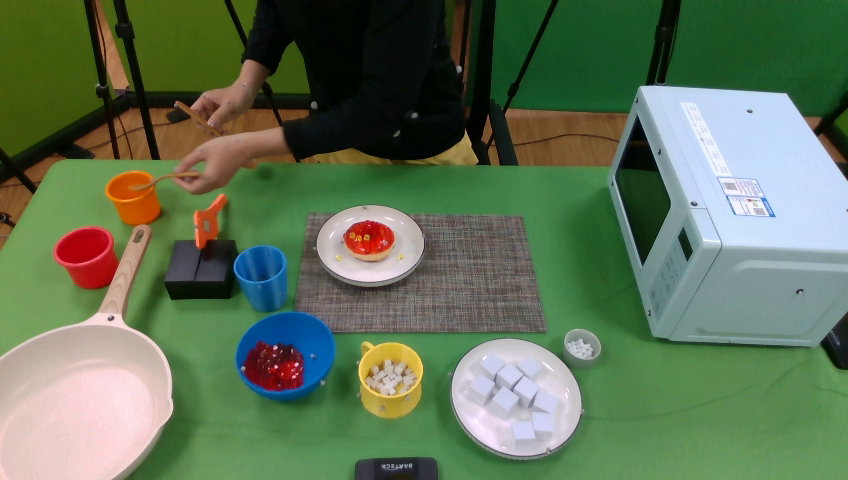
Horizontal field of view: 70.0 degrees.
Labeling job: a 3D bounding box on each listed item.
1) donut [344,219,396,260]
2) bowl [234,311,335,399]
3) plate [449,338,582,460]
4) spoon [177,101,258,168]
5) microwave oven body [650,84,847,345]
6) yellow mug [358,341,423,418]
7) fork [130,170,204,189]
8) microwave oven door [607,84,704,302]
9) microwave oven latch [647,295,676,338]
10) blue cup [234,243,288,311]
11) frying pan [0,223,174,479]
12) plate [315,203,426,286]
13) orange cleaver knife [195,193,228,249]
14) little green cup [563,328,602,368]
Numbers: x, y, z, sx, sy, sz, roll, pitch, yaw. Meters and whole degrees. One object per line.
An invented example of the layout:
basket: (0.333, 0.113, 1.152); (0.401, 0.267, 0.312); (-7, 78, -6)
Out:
donut: (-0.103, -0.002, 1.158); (0.099, 0.048, 0.098); (2, 43, -2)
bowl: (-0.214, 0.194, 0.956); (0.151, 0.077, 0.150); (2, 46, -2)
plate: (0.141, 0.251, 0.955); (0.208, 0.039, 0.206); (2, 46, -2)
spoon: (-0.411, -0.212, 1.214); (0.021, 0.195, 0.041); (-18, 41, 34)
microwave oven body: (0.569, -0.054, 1.116); (0.326, 0.261, 0.439); (2, 46, -1)
yellow mug: (-0.063, 0.210, 0.961); (0.100, 0.064, 0.130); (-29, 54, -27)
fork: (-0.460, -0.109, 1.082); (0.207, 0.018, 0.028); (-7, 17, 35)
microwave oven door: (0.424, -0.096, 1.137); (0.039, 0.245, 0.353); (3, 46, -1)
microwave oven latch: (0.413, 0.133, 1.060); (0.030, 0.029, 0.078); (4, 46, 1)
blue cup: (-0.276, 0.072, 1.052); (0.093, 0.101, 0.092); (1, 48, -1)
frying pan: (-0.505, 0.169, 0.941); (0.307, 0.103, 0.485); (5, 54, -1)
plate: (-0.101, 0.012, 1.159); (0.209, 0.038, 0.208); (2, 46, -2)
orange cleaver knife: (-0.406, -0.041, 1.163); (0.012, 0.077, 0.210); (0, 18, -3)
little green cup: (0.266, 0.185, 1.025); (0.061, 0.039, 0.061); (1, 45, -1)
